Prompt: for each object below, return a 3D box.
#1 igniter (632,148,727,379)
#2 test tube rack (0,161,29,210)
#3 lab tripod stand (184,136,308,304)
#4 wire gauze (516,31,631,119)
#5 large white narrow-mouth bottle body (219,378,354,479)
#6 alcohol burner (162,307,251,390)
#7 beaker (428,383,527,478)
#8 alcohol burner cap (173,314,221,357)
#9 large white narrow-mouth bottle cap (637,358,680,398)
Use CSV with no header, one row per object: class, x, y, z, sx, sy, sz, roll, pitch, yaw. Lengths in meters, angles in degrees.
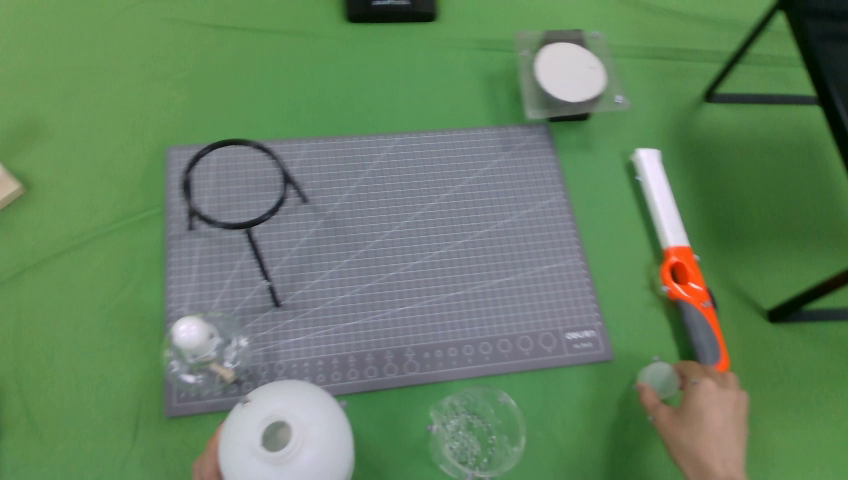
igniter,0.286,0.019,0.684,0.057,0.025,0.274,0,67,-19
test tube rack,-0.517,-0.012,0.565,0.066,0.085,0.242,40,68,11
lab tripod stand,-0.166,-0.024,0.585,0.149,0.132,0.147,3,66,-7
wire gauze,0.176,-0.200,0.723,0.122,0.011,0.124,-3,68,-8
large white narrow-mouth bottle body,-0.107,0.164,0.480,0.102,0.196,0.101,2,66,-5
alcohol burner,-0.197,0.092,0.541,0.078,0.120,0.077,4,64,-7
beaker,0.040,0.174,0.547,0.084,0.101,0.073,21,65,4
alcohol burner cap,-0.192,0.079,0.508,0.034,0.048,0.033,2,72,-6
large white narrow-mouth bottle cap,0.236,0.139,0.611,0.038,0.024,0.037,2,66,-5
